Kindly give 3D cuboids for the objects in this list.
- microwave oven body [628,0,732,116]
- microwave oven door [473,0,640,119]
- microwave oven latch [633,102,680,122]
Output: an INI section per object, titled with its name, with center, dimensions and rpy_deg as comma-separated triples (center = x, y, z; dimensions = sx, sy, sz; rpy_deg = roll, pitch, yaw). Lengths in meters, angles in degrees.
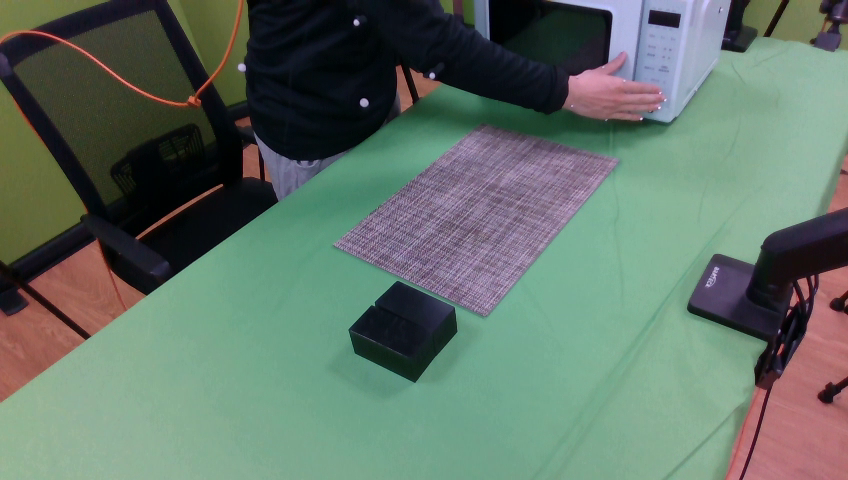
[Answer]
[microwave oven body]
center = 0.377, -0.463, 1.267
dimensions = 0.438, 0.261, 0.327
rpy_deg = 21, 49, 30
[microwave oven door]
center = 0.252, -0.391, 1.194
dimensions = 0.353, 0.245, 0.039
rpy_deg = 23, 49, 31
[microwave oven latch]
center = 0.444, -0.250, 1.158
dimensions = 0.078, 0.029, 0.030
rpy_deg = 23, 50, 32
